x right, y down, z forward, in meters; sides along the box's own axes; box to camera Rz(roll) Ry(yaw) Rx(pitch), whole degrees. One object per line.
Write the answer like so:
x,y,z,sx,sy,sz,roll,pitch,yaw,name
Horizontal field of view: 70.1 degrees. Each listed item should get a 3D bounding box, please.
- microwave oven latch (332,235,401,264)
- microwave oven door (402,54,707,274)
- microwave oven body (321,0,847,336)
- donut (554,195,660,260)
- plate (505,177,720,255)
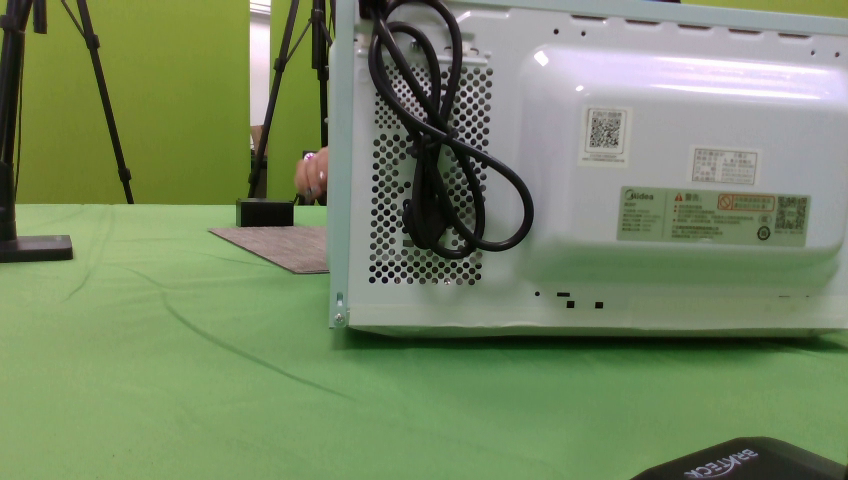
-0.066,0.011,0.700,0.079,0.029,0.030,2,6,-8,microwave oven latch
0.157,-0.085,0.717,0.357,0.243,0.039,1,8,-8,microwave oven door
0.133,-0.062,0.567,0.443,0.260,0.325,2,6,-8,microwave oven body
0.172,-0.014,0.574,0.099,0.048,0.099,-13,10,3,donut
0.184,-0.026,0.615,0.209,0.038,0.209,5,16,-1,plate
